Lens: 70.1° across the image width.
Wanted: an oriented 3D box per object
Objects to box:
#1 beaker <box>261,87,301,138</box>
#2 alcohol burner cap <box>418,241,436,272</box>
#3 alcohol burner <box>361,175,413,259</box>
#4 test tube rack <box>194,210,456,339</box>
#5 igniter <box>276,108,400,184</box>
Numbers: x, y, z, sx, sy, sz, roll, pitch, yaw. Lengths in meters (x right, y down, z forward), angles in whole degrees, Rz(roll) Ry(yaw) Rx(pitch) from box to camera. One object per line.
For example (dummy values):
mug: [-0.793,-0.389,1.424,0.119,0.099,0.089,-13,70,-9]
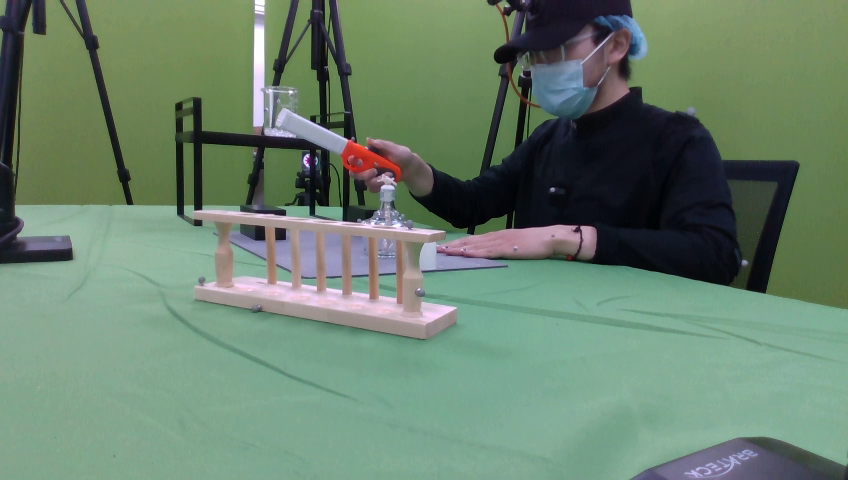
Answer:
beaker: [-0.298,-0.263,1.255,0.084,0.100,0.073,-5,10,-40]
alcohol burner cap: [0.000,0.015,0.787,0.034,0.048,0.034,4,7,0]
alcohol burner: [-0.054,-0.033,0.870,0.078,0.119,0.078,1,9,0]
test tube rack: [-0.093,0.023,0.546,0.241,0.085,0.067,6,8,25]
igniter: [-0.134,-0.155,1.037,0.278,0.057,0.025,22,13,-48]
